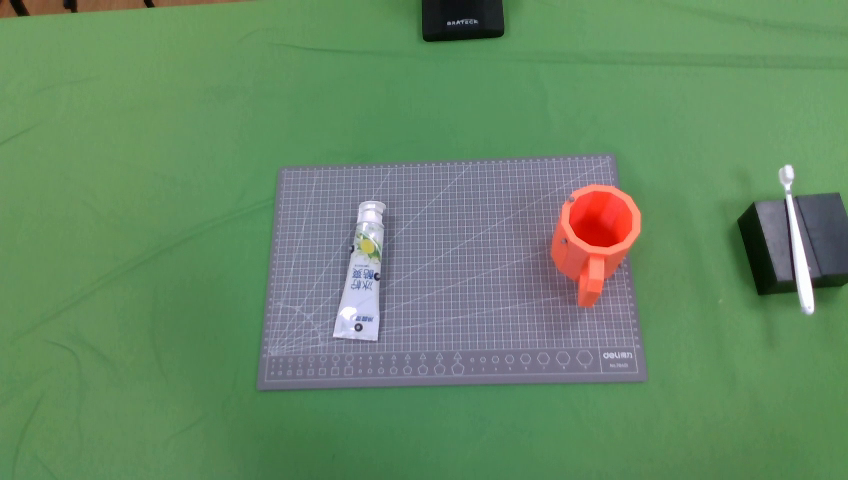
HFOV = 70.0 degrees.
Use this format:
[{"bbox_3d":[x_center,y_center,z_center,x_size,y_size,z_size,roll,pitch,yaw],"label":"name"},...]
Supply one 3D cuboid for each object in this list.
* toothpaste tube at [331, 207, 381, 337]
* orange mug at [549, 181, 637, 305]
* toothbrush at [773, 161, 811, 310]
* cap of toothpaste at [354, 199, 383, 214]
[{"bbox_3d":[-0.079,0.036,0.744,0.055,0.035,0.164,1,72,10],"label":"toothpaste tube"},{"bbox_3d":[0.191,0.007,0.699,0.083,0.101,0.125,6,64,7],"label":"orange mug"},{"bbox_3d":[0.418,-0.009,0.685,0.014,0.017,0.180,3,68,2],"label":"toothbrush"},{"bbox_3d":[-0.071,-0.041,0.768,0.037,0.037,0.011,-5,66,2],"label":"cap of toothpaste"}]
